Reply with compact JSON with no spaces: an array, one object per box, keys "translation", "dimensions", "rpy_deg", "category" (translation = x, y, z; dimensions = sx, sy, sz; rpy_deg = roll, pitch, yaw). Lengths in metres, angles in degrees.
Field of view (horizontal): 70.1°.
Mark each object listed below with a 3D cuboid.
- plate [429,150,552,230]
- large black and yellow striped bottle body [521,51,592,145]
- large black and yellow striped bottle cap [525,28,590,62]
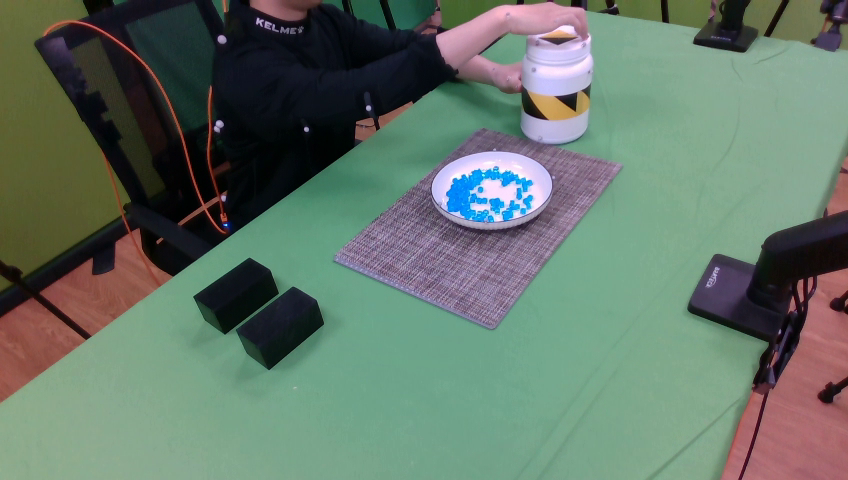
[{"translation":[0.113,-0.082,1.032],"dimensions":[0.207,0.039,0.206],"rpy_deg":[-4,41,4],"category":"plate"},{"translation":[0.249,-0.290,1.147],"dimensions":[0.131,0.185,0.130],"rpy_deg":[-4,40,4],"category":"large black and yellow striped bottle body"},{"translation":[0.240,-0.353,1.091],"dimensions":[0.115,0.019,0.114],"rpy_deg":[-3,40,3],"category":"large black and yellow striped bottle cap"}]
